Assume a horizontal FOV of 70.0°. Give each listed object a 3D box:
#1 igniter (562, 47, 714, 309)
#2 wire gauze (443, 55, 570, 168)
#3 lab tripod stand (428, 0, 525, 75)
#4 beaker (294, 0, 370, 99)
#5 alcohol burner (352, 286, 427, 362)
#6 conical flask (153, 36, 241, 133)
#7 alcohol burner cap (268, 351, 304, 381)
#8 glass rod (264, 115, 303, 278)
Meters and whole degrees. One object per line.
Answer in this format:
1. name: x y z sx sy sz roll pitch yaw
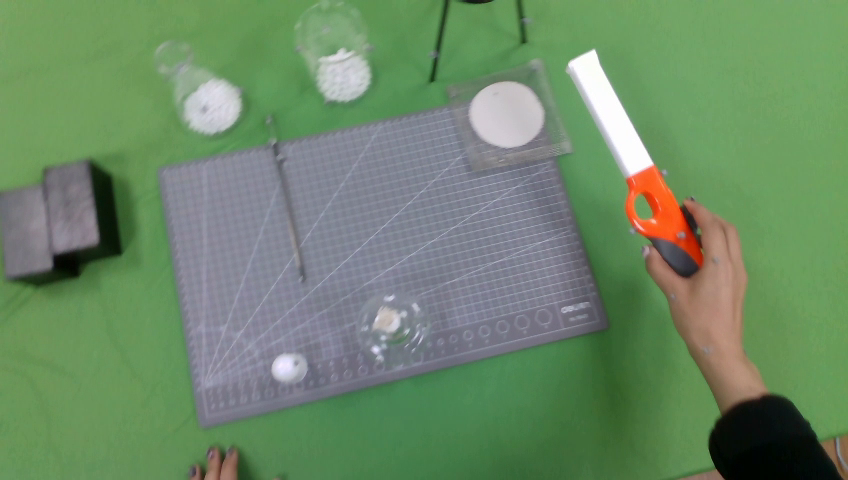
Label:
1. igniter: 0.212 -0.061 0.599 0.057 0.025 0.276 -26 87 -3
2. wire gauze: 0.096 -0.152 0.714 0.125 0.011 0.121 -14 78 -4
3. lab tripod stand: 0.050 -0.269 0.679 0.148 0.132 0.147 0 79 -1
4. beaker: -0.100 -0.213 0.681 0.074 0.100 0.083 -11 76 -3
5. alcohol burner: -0.035 0.083 0.606 0.078 0.119 0.077 0 79 -1
6. conical flask: -0.251 -0.172 0.658 0.075 0.122 0.075 0 76 0
7. alcohol burner cap: -0.145 0.130 0.630 0.034 0.048 0.033 0 77 -1
8. glass rod: -0.160 -0.052 0.686 0.008 0.008 0.198 -14 78 -4
